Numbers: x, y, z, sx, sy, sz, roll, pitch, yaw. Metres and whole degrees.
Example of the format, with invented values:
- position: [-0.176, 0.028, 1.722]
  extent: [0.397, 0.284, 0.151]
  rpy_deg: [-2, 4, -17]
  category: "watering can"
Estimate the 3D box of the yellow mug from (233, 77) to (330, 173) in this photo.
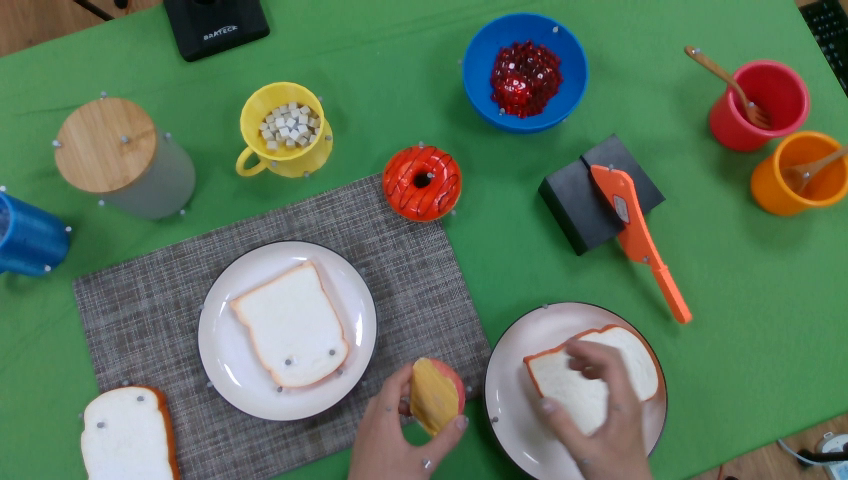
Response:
- position: [-0.182, -0.130, 0.746]
  extent: [0.131, 0.064, 0.099]
  rpy_deg: [-44, 82, -7]
  category: "yellow mug"

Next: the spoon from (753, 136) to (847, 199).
- position: [0.476, -0.106, 0.698]
  extent: [0.022, 0.194, 0.041]
  rpy_deg: [-14, 72, -49]
  category: "spoon"

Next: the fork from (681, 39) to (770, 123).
- position: [0.360, -0.185, 0.714]
  extent: [0.209, 0.018, 0.028]
  rpy_deg: [21, 74, -38]
  category: "fork"

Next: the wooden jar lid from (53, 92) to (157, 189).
- position: [-0.337, -0.104, 0.647]
  extent: [0.108, 0.021, 0.108]
  rpy_deg: [0, 77, 1]
  category: "wooden jar lid"

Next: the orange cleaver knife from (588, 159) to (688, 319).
- position: [0.250, -0.002, 0.711]
  extent: [0.012, 0.077, 0.212]
  rpy_deg: [-31, 102, -13]
  category: "orange cleaver knife"

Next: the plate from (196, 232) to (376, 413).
- position: [-0.159, 0.096, 0.711]
  extent: [0.208, 0.039, 0.206]
  rpy_deg: [0, 79, 0]
  category: "plate"

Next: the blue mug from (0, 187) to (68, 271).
- position: [-0.496, -0.001, 0.700]
  extent: [0.082, 0.106, 0.116]
  rpy_deg: [43, 82, 9]
  category: "blue mug"

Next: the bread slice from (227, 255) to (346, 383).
- position: [-0.152, 0.098, 0.712]
  extent: [0.107, 0.018, 0.133]
  rpy_deg: [-31, 80, -5]
  category: "bread slice"

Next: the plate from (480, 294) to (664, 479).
- position: [0.167, 0.168, 0.700]
  extent: [0.209, 0.038, 0.208]
  rpy_deg: [0, 79, 0]
  category: "plate"

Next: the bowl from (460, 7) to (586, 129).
- position: [0.117, -0.199, 0.753]
  extent: [0.151, 0.077, 0.150]
  rpy_deg: [0, 79, 0]
  category: "bowl"

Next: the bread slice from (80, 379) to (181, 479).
- position: [-0.342, 0.228, 0.696]
  extent: [0.105, 0.019, 0.131]
  rpy_deg: [-13, 80, -3]
  category: "bread slice"

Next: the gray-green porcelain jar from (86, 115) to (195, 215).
- position: [-0.337, -0.091, 0.708]
  extent: [0.106, 0.127, 0.105]
  rpy_deg: [0, 78, 0]
  category: "gray-green porcelain jar"

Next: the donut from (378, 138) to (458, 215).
- position: [-0.006, -0.078, 0.742]
  extent: [0.099, 0.048, 0.098]
  rpy_deg: [0, 79, 0]
  category: "donut"

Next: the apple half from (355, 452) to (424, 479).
- position: [-0.042, 0.278, 0.671]
  extent: [0.074, 0.053, 0.080]
  rpy_deg: [33, 81, 8]
  category: "apple half"

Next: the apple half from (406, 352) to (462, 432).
- position: [0.015, 0.154, 0.621]
  extent: [0.033, 0.081, 0.081]
  rpy_deg: [-6, 75, -39]
  category: "apple half"
